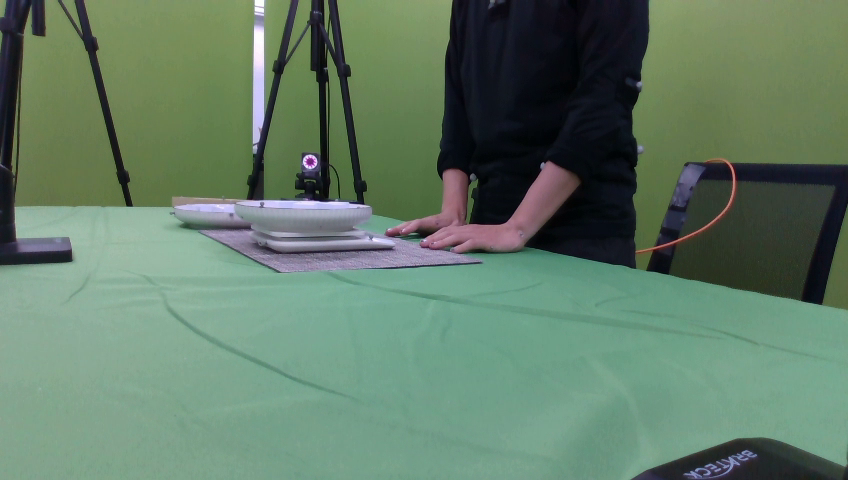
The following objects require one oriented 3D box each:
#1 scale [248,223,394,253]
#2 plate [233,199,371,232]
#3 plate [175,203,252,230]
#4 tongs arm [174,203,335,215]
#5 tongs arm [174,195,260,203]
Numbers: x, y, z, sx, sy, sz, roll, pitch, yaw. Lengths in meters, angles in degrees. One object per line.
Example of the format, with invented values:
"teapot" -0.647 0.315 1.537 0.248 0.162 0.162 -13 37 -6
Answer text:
"scale" -0.162 -0.006 0.954 0.202 0.031 0.148 -2 8 -32
"plate" -0.188 -0.039 0.939 0.209 0.038 0.209 2 7 0
"plate" -0.380 -0.047 1.199 0.208 0.039 0.207 3 7 0
"tongs arm" -0.384 -0.073 1.428 0.390 0.028 0.028 -1 5 -33
"tongs arm" -0.418 -0.088 1.508 0.386 0.026 0.050 2 7 -18
